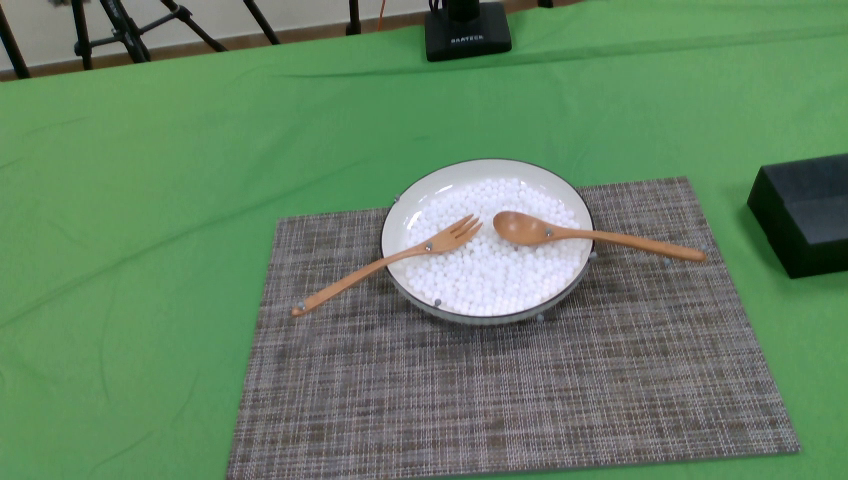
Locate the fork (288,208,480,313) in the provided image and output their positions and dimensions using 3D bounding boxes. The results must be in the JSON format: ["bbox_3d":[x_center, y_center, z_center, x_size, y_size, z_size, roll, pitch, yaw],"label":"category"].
[{"bbox_3d":[-0.034,0.018,0.575,0.207,0.019,0.028,-25,52,-22],"label":"fork"}]

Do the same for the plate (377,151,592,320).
[{"bbox_3d":[0.058,-0.005,0.599,0.209,0.038,0.207,-5,50,6],"label":"plate"}]

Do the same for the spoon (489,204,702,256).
[{"bbox_3d":[0.153,-0.007,0.562,0.192,0.022,0.041,9,48,26],"label":"spoon"}]
